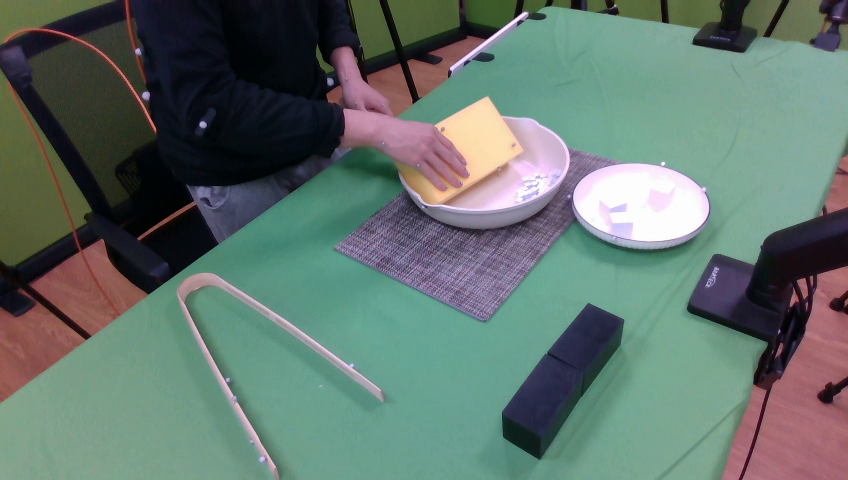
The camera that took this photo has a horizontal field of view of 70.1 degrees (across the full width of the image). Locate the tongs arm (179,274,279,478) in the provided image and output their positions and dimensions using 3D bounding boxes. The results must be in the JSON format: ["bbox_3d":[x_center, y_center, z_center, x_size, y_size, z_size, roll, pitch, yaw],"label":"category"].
[{"bbox_3d":[-0.260,0.161,0.807,0.051,0.026,0.381,-28,44,-25],"label":"tongs arm"}]

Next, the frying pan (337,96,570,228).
[{"bbox_3d":[0.023,-0.167,1.090,0.484,0.103,0.308,32,52,26],"label":"frying pan"}]

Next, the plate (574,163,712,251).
[{"bbox_3d":[0.344,-0.050,0.966,0.207,0.039,0.206,-4,40,4],"label":"plate"}]

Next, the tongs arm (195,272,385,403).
[{"bbox_3d":[-0.198,0.126,0.847,0.384,0.028,0.028,25,52,32],"label":"tongs arm"}]

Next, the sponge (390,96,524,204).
[{"bbox_3d":[0.059,-0.150,1.047,0.207,0.060,0.118,-34,89,-28],"label":"sponge"}]
